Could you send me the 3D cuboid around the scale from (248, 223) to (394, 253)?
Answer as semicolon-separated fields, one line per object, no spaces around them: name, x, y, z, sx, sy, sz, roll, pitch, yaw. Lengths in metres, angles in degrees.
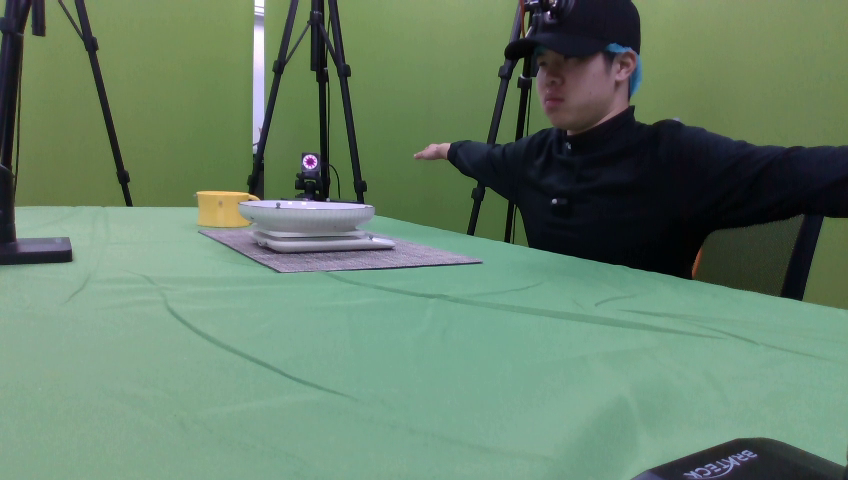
scale;-0.162;-0.007;0.954;0.202;0.031;0.148;-2;9;-32

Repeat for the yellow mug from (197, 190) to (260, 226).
yellow mug;-0.389;-0.065;1.223;0.131;0.064;0.099;-1;8;-34

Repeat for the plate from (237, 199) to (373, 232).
plate;-0.183;-0.039;0.941;0.209;0.038;0.209;3;7;0
